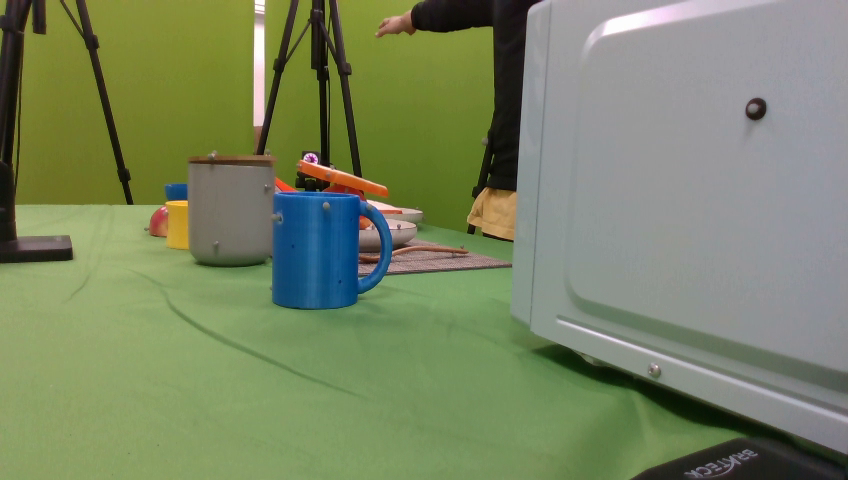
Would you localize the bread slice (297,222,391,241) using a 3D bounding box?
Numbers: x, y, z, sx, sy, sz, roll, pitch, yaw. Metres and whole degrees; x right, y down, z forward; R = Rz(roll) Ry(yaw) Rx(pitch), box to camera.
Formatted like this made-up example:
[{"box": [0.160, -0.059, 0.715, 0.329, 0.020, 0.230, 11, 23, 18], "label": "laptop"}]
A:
[{"box": [-0.121, -0.015, 0.970, 0.106, 0.018, 0.135, 10, 9, 40], "label": "bread slice"}]

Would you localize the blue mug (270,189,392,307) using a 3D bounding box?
[{"box": [-0.090, 0.005, 0.588, 0.117, 0.106, 0.082, 1, 7, -11], "label": "blue mug"}]

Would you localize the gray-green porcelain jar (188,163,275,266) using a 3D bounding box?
[{"box": [-0.246, -0.034, 0.780, 0.106, 0.126, 0.106, 1, 7, 0], "label": "gray-green porcelain jar"}]

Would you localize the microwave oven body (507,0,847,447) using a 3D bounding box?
[{"box": [0.331, -0.042, 0.425, 0.444, 0.260, 0.324, -2, 8, -31], "label": "microwave oven body"}]

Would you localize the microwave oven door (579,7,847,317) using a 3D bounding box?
[{"box": [0.294, -0.067, 0.570, 0.358, 0.243, 0.039, -3, 9, -31], "label": "microwave oven door"}]

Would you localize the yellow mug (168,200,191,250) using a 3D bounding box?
[{"box": [-0.320, -0.023, 0.904, 0.130, 0.064, 0.100, 8, 10, 36], "label": "yellow mug"}]

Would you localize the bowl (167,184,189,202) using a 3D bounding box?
[{"box": [-0.408, -0.064, 1.154, 0.151, 0.077, 0.151, 2, 8, 0], "label": "bowl"}]

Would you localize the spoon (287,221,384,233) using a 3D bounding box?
[{"box": [-0.157, -0.027, 1.110, 0.195, 0.021, 0.041, -4, -14, -35], "label": "spoon"}]

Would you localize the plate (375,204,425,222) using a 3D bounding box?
[{"box": [-0.102, -0.053, 1.299, 0.209, 0.038, 0.209, 2, 8, 0], "label": "plate"}]

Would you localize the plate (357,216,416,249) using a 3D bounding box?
[{"box": [-0.116, -0.014, 0.967, 0.208, 0.039, 0.207, 2, 7, 0], "label": "plate"}]

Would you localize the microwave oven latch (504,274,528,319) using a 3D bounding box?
[{"box": [0.100, 0.041, 0.471, 0.079, 0.029, 0.030, -1, 7, -28], "label": "microwave oven latch"}]

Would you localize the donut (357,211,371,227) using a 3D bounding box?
[{"box": [-0.129, -0.042, 0.957, 0.099, 0.048, 0.099, 3, 7, 0], "label": "donut"}]

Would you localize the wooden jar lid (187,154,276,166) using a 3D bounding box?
[{"box": [-0.244, -0.097, 0.771, 0.108, 0.020, 0.108, -1, 7, 0], "label": "wooden jar lid"}]

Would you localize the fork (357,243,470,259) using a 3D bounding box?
[{"box": [-0.017, 0.014, 0.845, 0.208, 0.018, 0.028, -5, -3, -35], "label": "fork"}]

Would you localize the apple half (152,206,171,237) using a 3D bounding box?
[{"box": [-0.415, -0.034, 1.017, 0.081, 0.053, 0.074, 1, 10, -8], "label": "apple half"}]

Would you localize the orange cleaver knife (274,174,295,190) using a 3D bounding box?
[{"box": [-0.283, -0.087, 1.343, 0.212, 0.077, 0.012, 24, -16, -41], "label": "orange cleaver knife"}]

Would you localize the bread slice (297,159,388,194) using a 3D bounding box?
[{"box": [-0.132, -0.102, 0.952, 0.132, 0.019, 0.104, 13, 6, -36], "label": "bread slice"}]
